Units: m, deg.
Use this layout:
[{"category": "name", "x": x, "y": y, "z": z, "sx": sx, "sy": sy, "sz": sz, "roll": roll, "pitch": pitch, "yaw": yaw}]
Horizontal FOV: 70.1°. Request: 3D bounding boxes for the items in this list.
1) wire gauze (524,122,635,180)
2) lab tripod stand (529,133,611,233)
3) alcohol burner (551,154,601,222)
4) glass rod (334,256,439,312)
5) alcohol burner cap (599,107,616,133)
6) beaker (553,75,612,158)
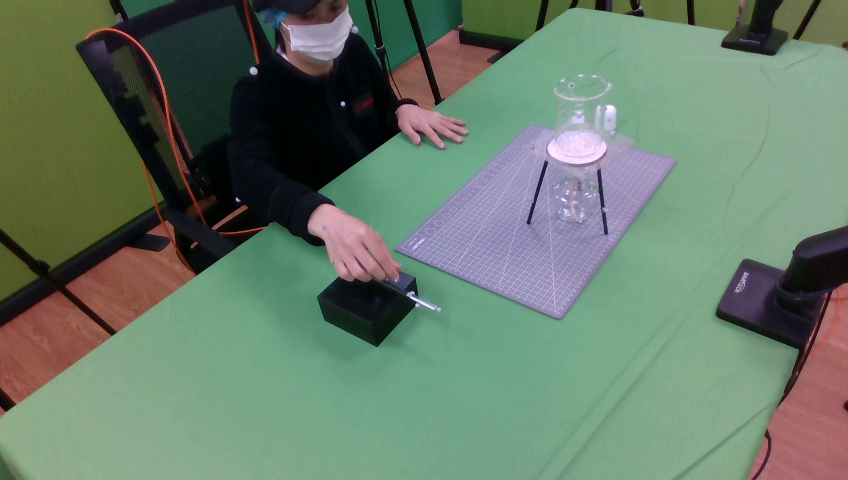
[{"category": "wire gauze", "x": 0.233, "y": -0.142, "z": 0.913, "sx": 0.122, "sy": 0.011, "sz": 0.124, "roll": -31, "pitch": 42, "yaw": -26}, {"category": "lab tripod stand", "x": 0.236, "y": -0.089, "z": 0.953, "sx": 0.148, "sy": 0.132, "sz": 0.147, "roll": -5, "pitch": 41, "yaw": 5}, {"category": "alcohol burner", "x": 0.244, "y": -0.087, "z": 0.966, "sx": 0.078, "sy": 0.119, "sz": 0.077, "roll": -3, "pitch": 40, "yaw": 3}, {"category": "glass rod", "x": -0.058, "y": 0.060, "z": 0.850, "sx": 0.198, "sy": 0.008, "sz": 0.008, "roll": 24, "pitch": 49, "yaw": 33}, {"category": "alcohol burner cap", "x": 0.361, "y": -0.239, "z": 1.189, "sx": 0.034, "sy": 0.048, "sz": 0.033, "roll": -4, "pitch": 40, "yaw": 4}, {"category": "beaker", "x": 0.230, "y": -0.178, "z": 0.882, "sx": 0.084, "sy": 0.101, "sz": 0.073, "roll": -9, "pitch": 41, "yaw": 1}]
